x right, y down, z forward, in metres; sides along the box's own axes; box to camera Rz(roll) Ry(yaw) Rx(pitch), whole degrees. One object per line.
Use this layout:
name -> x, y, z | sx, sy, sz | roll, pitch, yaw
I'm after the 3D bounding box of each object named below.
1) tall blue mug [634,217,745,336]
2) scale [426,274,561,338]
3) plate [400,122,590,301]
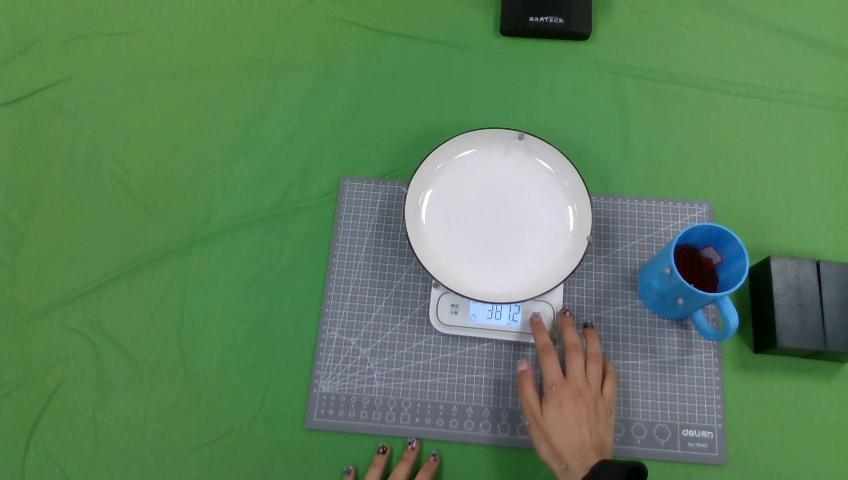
tall blue mug -> 0.290, 0.040, 0.644 | 0.106, 0.108, 0.077 | 40, 77, 13
scale -> 0.085, 0.007, 0.698 | 0.148, 0.032, 0.200 | 6, 73, 3
plate -> 0.078, -0.031, 0.675 | 0.209, 0.038, 0.208 | 0, 73, 0
